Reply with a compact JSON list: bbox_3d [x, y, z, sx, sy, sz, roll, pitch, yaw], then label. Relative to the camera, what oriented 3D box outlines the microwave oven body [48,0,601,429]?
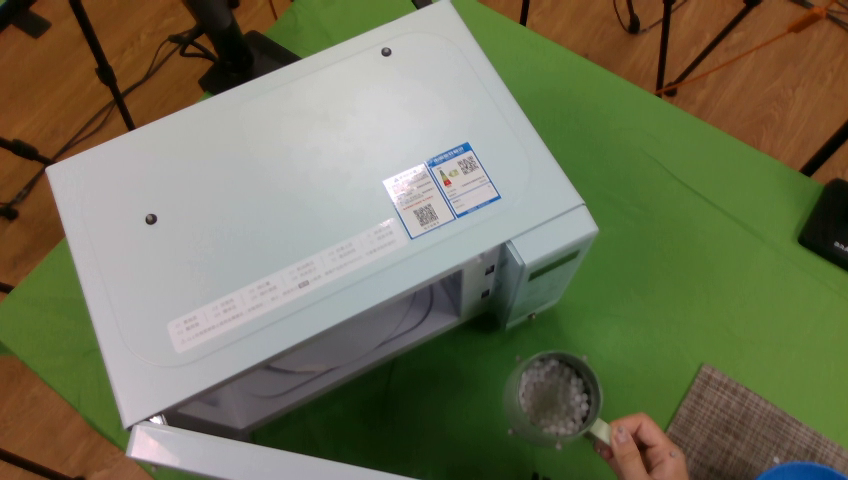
[{"bbox_3d":[-0.099,-0.009,0.675,0.442,0.262,0.323,-26,70,-7],"label":"microwave oven body"}]

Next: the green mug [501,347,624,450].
[{"bbox_3d":[0.138,0.161,0.592,0.125,0.105,0.092,35,77,12],"label":"green mug"}]

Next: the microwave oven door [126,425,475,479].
[{"bbox_3d":[-0.058,0.226,0.575,0.355,0.245,0.039,9,70,6],"label":"microwave oven door"}]

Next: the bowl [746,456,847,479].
[{"bbox_3d":[0.388,0.305,0.632,0.151,0.077,0.150,-1,68,2],"label":"bowl"}]

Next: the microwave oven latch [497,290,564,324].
[{"bbox_3d":[0.130,0.073,0.739,0.079,0.030,0.030,-24,70,-7],"label":"microwave oven latch"}]
